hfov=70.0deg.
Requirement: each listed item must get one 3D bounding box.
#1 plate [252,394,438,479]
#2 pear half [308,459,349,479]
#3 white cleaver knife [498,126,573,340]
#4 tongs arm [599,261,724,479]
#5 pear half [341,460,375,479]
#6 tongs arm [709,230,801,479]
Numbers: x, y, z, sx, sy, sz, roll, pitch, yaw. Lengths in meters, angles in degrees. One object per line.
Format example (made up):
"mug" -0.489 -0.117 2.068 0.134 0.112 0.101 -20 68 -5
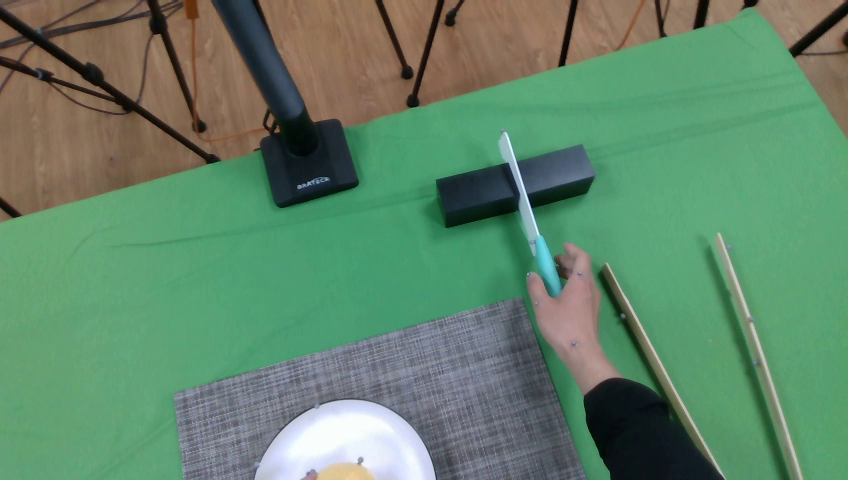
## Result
"plate" -0.087 0.281 0.682 0.207 0.039 0.206 -1 68 2
"pear half" -0.103 0.271 0.637 0.056 0.110 0.075 -11 65 0
"white cleaver knife" 0.140 -0.013 0.777 0.021 0.066 0.285 -15 78 2
"tongs arm" 0.306 0.192 0.715 0.028 0.028 0.384 -21 69 -9
"pear half" -0.066 0.269 0.645 0.031 0.088 0.070 -12 66 2
"tongs arm" 0.384 0.171 0.716 0.051 0.027 0.381 -10 69 -1
